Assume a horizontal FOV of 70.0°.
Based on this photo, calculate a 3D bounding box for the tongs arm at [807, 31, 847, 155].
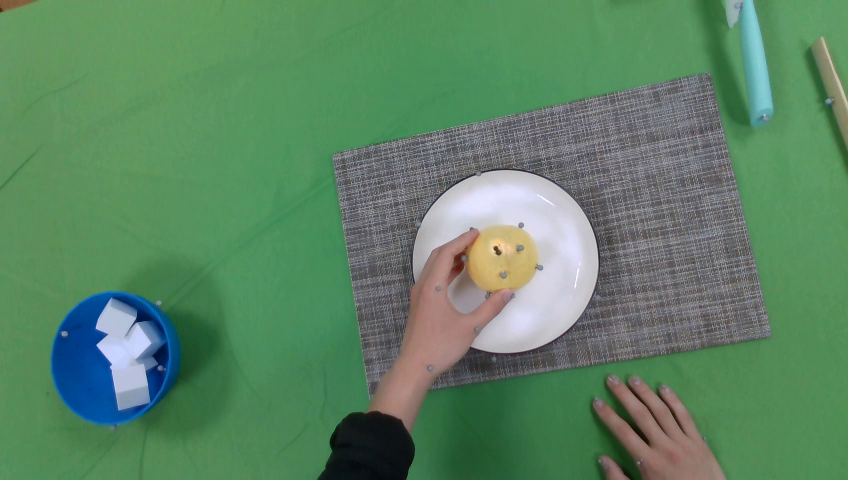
[{"bbox_3d":[0.486,-0.045,0.640,0.028,0.028,0.386,-18,82,5],"label":"tongs arm"}]

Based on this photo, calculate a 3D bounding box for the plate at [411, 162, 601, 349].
[{"bbox_3d":[0.091,0.018,0.682,0.207,0.039,0.207,-1,84,9],"label":"plate"}]

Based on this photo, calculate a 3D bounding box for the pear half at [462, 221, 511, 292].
[{"bbox_3d":[0.066,0.015,0.634,0.056,0.110,0.076,-6,74,9],"label":"pear half"}]

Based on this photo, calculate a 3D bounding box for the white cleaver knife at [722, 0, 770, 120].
[{"bbox_3d":[0.339,-0.273,0.660,0.021,0.066,0.286,-9,93,12],"label":"white cleaver knife"}]

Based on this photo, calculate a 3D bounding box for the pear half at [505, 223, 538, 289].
[{"bbox_3d":[0.104,0.015,0.637,0.031,0.088,0.070,-8,76,11],"label":"pear half"}]

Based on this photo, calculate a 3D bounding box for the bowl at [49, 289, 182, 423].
[{"bbox_3d":[-0.347,0.134,0.717,0.151,0.077,0.151,-1,84,8],"label":"bowl"}]
